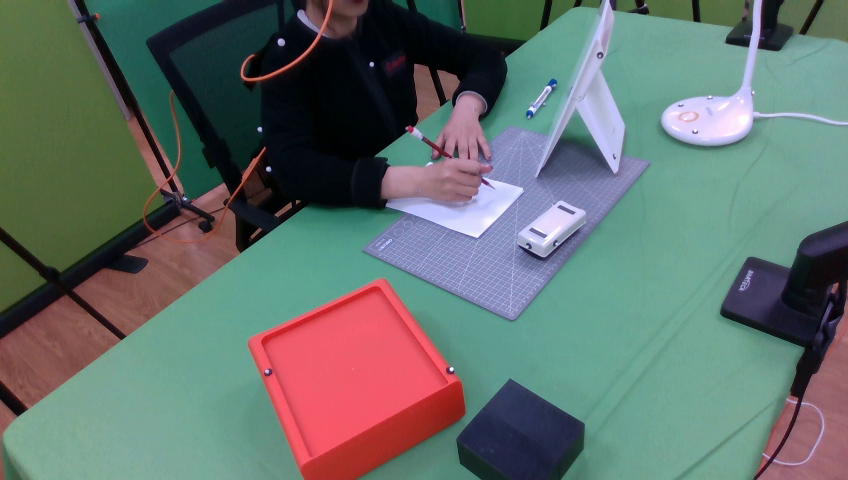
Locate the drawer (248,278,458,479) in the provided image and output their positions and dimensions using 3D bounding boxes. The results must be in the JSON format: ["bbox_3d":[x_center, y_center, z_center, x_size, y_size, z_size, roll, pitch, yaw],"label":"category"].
[{"bbox_3d":[-0.092,0.168,0.756,0.195,0.073,0.210,-24,43,-18],"label":"drawer"}]

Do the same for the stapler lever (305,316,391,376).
[{"bbox_3d":[-0.099,0.137,0.789,0.118,0.040,0.026,-22,45,-12],"label":"stapler lever"}]

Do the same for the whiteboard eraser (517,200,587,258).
[{"bbox_3d":[0.201,-0.016,0.943,0.113,0.042,0.055,-37,46,-29],"label":"whiteboard eraser"}]

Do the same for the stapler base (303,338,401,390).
[{"bbox_3d":[-0.096,0.159,0.812,0.131,0.024,0.041,-17,43,-17],"label":"stapler base"}]

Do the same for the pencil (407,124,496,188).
[{"bbox_3d":[0.050,-0.138,1.015,0.012,0.195,0.012,-43,28,30],"label":"pencil"}]

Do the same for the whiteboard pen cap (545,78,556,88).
[{"bbox_3d":[0.280,-0.344,1.335,0.018,0.018,0.033,15,44,26],"label":"whiteboard pen cap"}]

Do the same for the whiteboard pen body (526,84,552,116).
[{"bbox_3d":[0.251,-0.305,1.298,0.017,0.017,0.141,15,45,26],"label":"whiteboard pen body"}]

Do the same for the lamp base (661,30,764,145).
[{"bbox_3d":[0.535,-0.287,1.096,0.179,0.181,0.159,-10,40,-4],"label":"lamp base"}]

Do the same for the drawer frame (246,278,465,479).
[{"bbox_3d":[-0.088,0.168,0.752,0.202,0.083,0.211,-24,43,-18],"label":"drawer frame"}]

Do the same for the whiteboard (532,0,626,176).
[{"bbox_3d":[0.321,-0.258,1.050,0.144,0.306,0.217,22,45,5],"label":"whiteboard"}]
